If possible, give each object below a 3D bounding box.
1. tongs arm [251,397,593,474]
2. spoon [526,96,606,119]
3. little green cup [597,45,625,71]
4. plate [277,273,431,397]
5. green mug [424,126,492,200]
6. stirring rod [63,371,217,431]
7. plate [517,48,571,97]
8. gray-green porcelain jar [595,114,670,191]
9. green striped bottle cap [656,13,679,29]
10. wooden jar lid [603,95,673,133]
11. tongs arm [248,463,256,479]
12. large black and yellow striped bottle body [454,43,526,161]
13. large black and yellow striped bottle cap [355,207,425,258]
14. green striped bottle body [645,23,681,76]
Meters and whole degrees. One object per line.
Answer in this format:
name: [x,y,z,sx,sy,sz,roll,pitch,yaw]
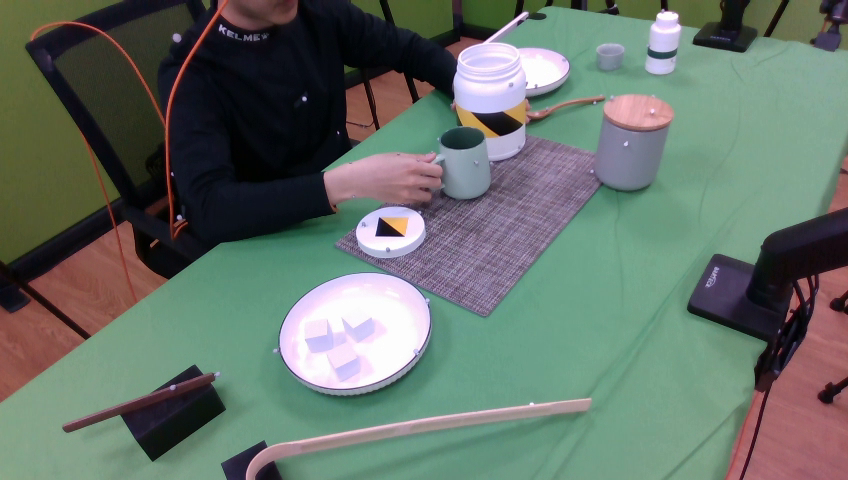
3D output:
tongs arm: [0.008,0.212,0.675,0.389,0.028,0.028,-5,46,-11]
spoon: [0.291,-0.277,1.249,0.194,0.022,0.041,-17,26,-11]
little green cup: [0.423,-0.413,1.375,0.061,0.039,0.061,-3,41,3]
plate: [-0.091,0.129,0.821,0.207,0.039,0.206,-4,40,4]
green mug: [0.055,-0.125,1.039,0.126,0.105,0.091,-26,45,-20]
stirring rod: [-0.337,0.192,0.723,0.177,0.014,0.005,-18,43,-12]
plate: [0.223,-0.371,1.357,0.209,0.038,0.208,-4,41,4]
gray-green porcelain jar: [0.346,-0.155,1.017,0.106,0.127,0.105,-2,44,2]
green striped bottle cap: [0.515,-0.463,1.278,0.044,0.020,0.044,-6,42,6]
wooden jar lid: [0.343,-0.200,0.974,0.108,0.021,0.108,-2,39,2]
tongs arm: [0.012,0.262,0.615,0.385,0.026,0.050,2,42,-2]
large black and yellow striped bottle body: [0.124,-0.255,1.117,0.131,0.185,0.130,-4,40,4]
large black and yellow striped bottle cap: [-0.056,-0.014,0.993,0.115,0.019,0.114,-3,40,3]
green striped bottle body: [0.520,-0.424,1.312,0.063,0.120,0.063,-4,41,4]
